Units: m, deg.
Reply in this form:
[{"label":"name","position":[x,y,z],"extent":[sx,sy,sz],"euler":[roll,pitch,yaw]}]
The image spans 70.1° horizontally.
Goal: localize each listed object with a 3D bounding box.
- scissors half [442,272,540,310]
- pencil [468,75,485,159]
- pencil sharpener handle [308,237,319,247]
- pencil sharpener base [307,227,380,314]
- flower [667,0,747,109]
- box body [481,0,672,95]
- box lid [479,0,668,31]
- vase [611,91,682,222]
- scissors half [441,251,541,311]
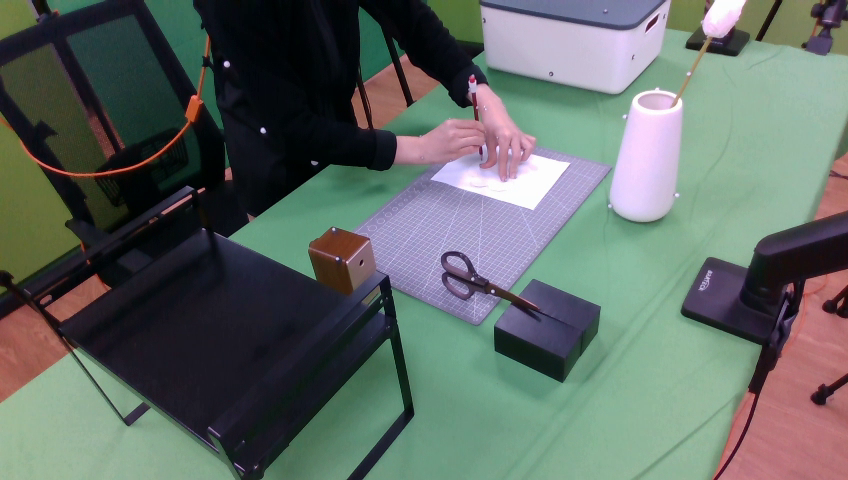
[{"label":"scissors half","position":[0.089,0.074,0.833],"extent":[0.013,0.040,0.173],"euler":[-24,23,-38]},{"label":"pencil","position":[0.096,-0.212,1.073],"extent":[0.012,0.195,0.012],"euler":[-7,52,9]},{"label":"pencil sharpener handle","position":[-0.159,0.017,0.892],"extent":[0.030,0.068,0.036],"euler":[18,61,28]},{"label":"pencil sharpener base","position":[-0.116,0.043,0.875],"extent":[0.076,0.107,0.061],"euler":[18,47,27]},{"label":"flower","position":[0.354,-0.187,0.879],"extent":[0.038,0.362,0.044],"euler":[31,48,14]},{"label":"box body","position":[0.341,-0.480,1.381],"extent":[0.361,0.161,0.255],"euler":[22,48,30]},{"label":"box lid","position":[0.335,-0.536,1.331],"extent":[0.368,0.015,0.264],"euler":[23,49,30]},{"label":"vase","position":[0.348,-0.125,0.935],"extent":[0.098,0.201,0.097],"euler":[-3,40,3]},{"label":"scissors half","position":[0.087,0.056,0.824],"extent":[0.173,0.040,0.013],"euler":[29,44,36]}]
